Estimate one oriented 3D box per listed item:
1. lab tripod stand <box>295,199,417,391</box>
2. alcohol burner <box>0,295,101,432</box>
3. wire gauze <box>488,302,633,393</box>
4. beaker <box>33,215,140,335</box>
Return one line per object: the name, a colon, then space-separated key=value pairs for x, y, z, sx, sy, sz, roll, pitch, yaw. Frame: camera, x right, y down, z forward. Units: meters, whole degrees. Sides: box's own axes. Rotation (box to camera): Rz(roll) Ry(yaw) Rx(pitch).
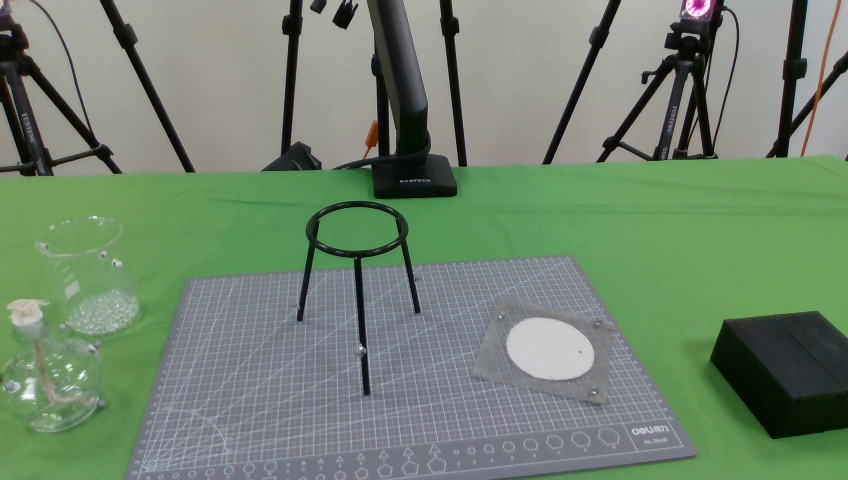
lab tripod stand: x=-0.060 y=0.042 z=0.560 sx=0.148 sy=0.132 sz=0.147 roll=3 pitch=33 yaw=-2
alcohol burner: x=-0.306 y=0.094 z=0.485 sx=0.078 sy=0.120 sz=0.077 roll=2 pitch=30 yaw=-1
wire gauze: x=0.125 y=0.096 z=0.577 sx=0.125 sy=0.011 sz=0.120 roll=6 pitch=30 yaw=-5
beaker: x=-0.324 y=0.034 z=0.593 sx=0.074 sy=0.101 sz=0.083 roll=4 pitch=32 yaw=1
